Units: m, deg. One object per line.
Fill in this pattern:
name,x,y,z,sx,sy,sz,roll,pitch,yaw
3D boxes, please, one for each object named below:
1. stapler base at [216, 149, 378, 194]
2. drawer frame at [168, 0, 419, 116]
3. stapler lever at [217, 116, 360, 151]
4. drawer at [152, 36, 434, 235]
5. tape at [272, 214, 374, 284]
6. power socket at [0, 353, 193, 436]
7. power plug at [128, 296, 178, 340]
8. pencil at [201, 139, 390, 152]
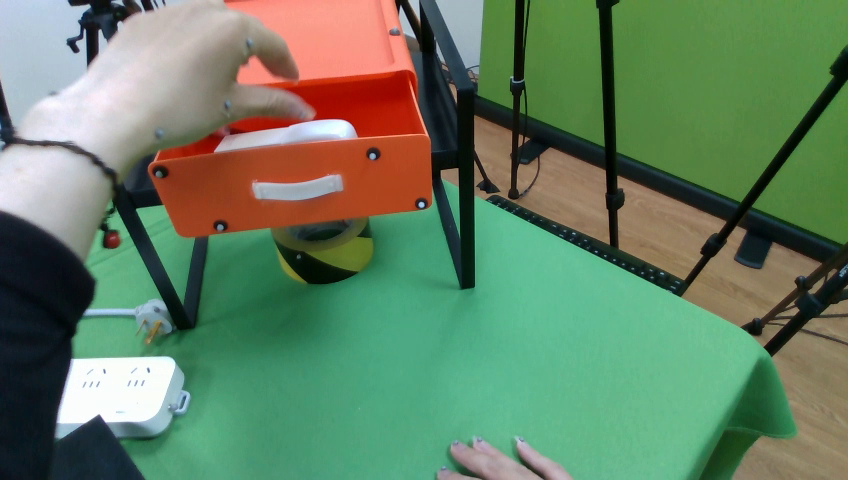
stapler base,-0.105,-0.059,0.495,0.130,0.024,0.041,1,37,8
drawer frame,-0.116,-0.168,0.579,0.202,0.083,0.211,-8,42,-4
stapler lever,-0.108,-0.077,0.479,0.118,0.040,0.026,2,38,8
drawer,-0.102,-0.105,0.514,0.195,0.074,0.209,-8,42,-4
tape,-0.114,-0.009,0.696,0.117,0.053,0.115,-1,45,1
power socket,-0.331,0.142,0.559,0.227,0.033,0.071,-2,42,2
power plug,-0.285,0.087,0.629,0.072,0.035,0.052,-29,28,28
pencil,-0.114,-0.080,0.516,0.193,0.012,0.012,4,42,24
